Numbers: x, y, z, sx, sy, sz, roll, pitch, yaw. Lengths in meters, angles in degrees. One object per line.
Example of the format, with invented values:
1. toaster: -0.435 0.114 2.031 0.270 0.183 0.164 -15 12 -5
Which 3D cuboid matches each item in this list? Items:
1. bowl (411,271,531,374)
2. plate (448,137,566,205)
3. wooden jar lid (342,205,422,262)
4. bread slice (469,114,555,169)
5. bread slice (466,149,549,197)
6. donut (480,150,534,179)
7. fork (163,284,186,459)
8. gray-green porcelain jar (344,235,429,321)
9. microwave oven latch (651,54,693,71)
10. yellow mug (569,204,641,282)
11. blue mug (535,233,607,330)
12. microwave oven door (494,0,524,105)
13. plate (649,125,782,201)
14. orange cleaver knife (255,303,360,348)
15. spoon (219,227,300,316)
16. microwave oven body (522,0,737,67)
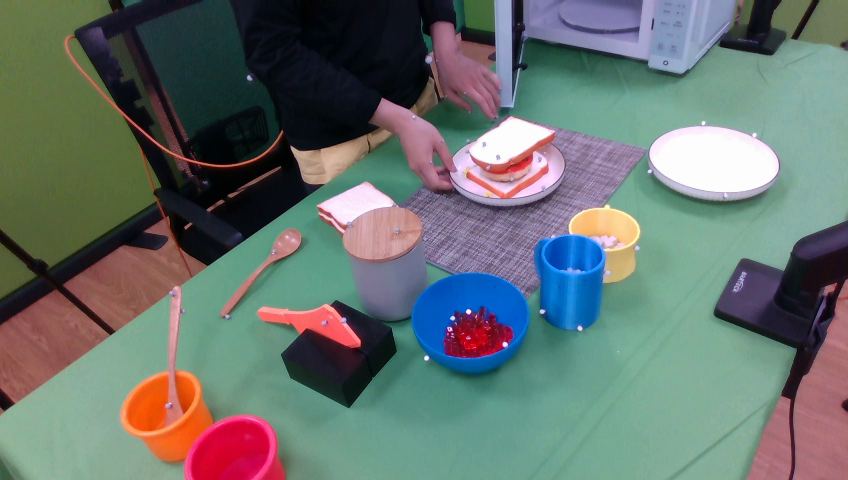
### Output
1. bowl: 0.062 0.119 0.780 0.151 0.077 0.150 -4 40 4
2. plate: 0.147 -0.124 1.075 0.209 0.038 0.208 -4 41 4
3. wooden jar lid: -0.055 -0.006 0.808 0.108 0.021 0.108 -6 41 6
4. bread slice: 0.145 -0.168 1.036 0.134 0.018 0.106 -39 43 -24
5. bread slice: 0.156 -0.130 1.082 0.132 0.019 0.104 -32 47 -26
6. donut: 0.143 -0.145 1.058 0.099 0.048 0.098 -4 42 4
7. fork: -0.302 0.157 0.733 0.028 0.019 0.207 -3 84 15
8. gray-green porcelain jar: -0.049 0.042 0.849 0.106 0.127 0.105 -4 41 4
9. microwave oven latch: 0.532 -0.386 1.301 0.078 0.029 0.030 26 51 33
10. yellow mug: 0.268 -0.005 0.904 0.099 0.064 0.130 7 41 15
11. blue mug: 0.191 0.048 0.824 0.082 0.106 0.115 -26 44 -21
12. microwave oven door: 0.187 -0.487 1.312 0.039 0.245 0.355 3 42 12
13. plate: 0.493 -0.128 1.036 0.207 0.039 0.206 -4 41 4
14. orange cleaver knife: -0.161 0.115 0.813 0.210 0.077 0.012 -4 32 46
15. spoon: -0.261 0.046 0.954 0.041 0.021 0.194 27 48 10
16. microwave oven body: 0.475 -0.602 1.411 0.438 0.261 0.327 23 50 32
